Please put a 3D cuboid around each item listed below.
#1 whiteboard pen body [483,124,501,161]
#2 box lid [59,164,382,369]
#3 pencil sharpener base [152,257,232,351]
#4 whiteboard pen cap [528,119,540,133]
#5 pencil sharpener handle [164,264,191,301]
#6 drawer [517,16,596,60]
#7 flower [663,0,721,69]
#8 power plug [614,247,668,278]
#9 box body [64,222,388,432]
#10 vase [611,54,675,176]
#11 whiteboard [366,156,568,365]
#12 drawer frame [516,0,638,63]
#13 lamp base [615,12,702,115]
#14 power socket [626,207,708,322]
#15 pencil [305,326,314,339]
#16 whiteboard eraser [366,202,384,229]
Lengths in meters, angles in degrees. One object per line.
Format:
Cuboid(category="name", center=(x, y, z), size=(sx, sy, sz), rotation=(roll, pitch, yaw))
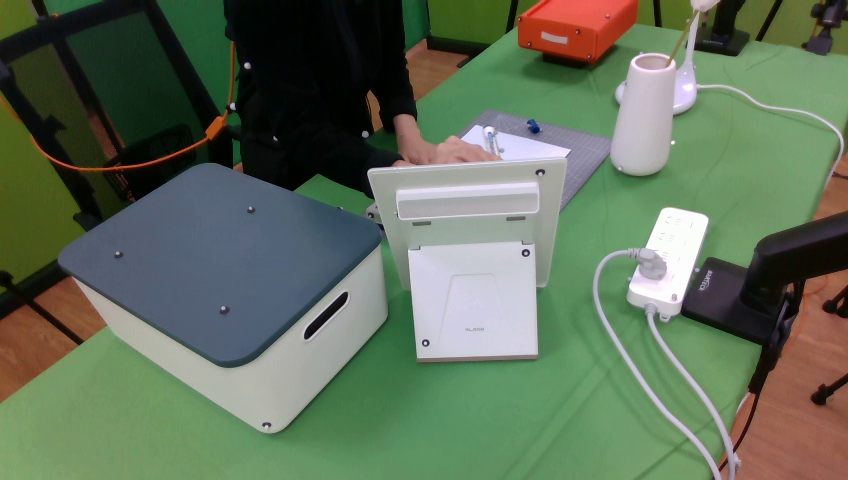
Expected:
Cuboid(category="whiteboard pen body", center=(0.090, -0.096, 0.756), size=(0.017, 0.017, 0.140), rotation=(-7, 51, 0))
Cuboid(category="box lid", center=(-0.263, 0.010, 0.777), size=(0.368, 0.015, 0.264), rotation=(20, 47, 29))
Cuboid(category="pencil sharpener base", center=(-0.322, 0.088, 0.842), size=(0.061, 0.107, 0.076), rotation=(-27, 44, -20))
Cuboid(category="whiteboard pen cap", center=(0.221, -0.229, 1.211), size=(0.018, 0.018, 0.033), rotation=(-13, 40, -7))
Cuboid(category="pencil sharpener handle", center=(-0.354, 0.055, 0.866), size=(0.036, 0.068, 0.030), rotation=(-16, 39, -29))
Cuboid(category="drawer", center=(0.352, -0.506, 1.405), size=(0.193, 0.073, 0.212), rotation=(23, 49, 32))
Cuboid(category="flower", center=(0.379, -0.261, 0.965), size=(0.044, 0.362, 0.038), rotation=(20, 53, 5))
Cuboid(category="power plug", center=(0.306, 0.031, 0.851), size=(0.072, 0.053, 0.035), rotation=(24, 49, 33))
Cuboid(category="box body", center=(-0.256, 0.065, 0.827), size=(0.361, 0.161, 0.255), rotation=(20, 48, 29))
Cuboid(category="vase", center=(0.377, -0.209, 1.031), size=(0.098, 0.201, 0.097), rotation=(-3, 40, 3))
Cuboid(category="whiteboard", center=(0.059, 0.050, 0.738), size=(0.217, 0.307, 0.143), rotation=(-2, 60, 6))
Cuboid(category="drawer frame", center=(0.355, -0.508, 1.410), size=(0.200, 0.083, 0.214), rotation=(23, 51, 32))
Cuboid(category="lamp base", center=(0.484, -0.363, 1.211), size=(0.180, 0.181, 0.159), rotation=(-15, 41, -14))
Cuboid(category="power socket", center=(0.359, 0.026, 0.886), size=(0.072, 0.033, 0.227), rotation=(16, 46, 26))
Cuboid(category="pencil", center=(-0.187, 0.105, 0.879), size=(0.012, 0.012, 0.192), rotation=(-27, 42, -22))
Cuboid(category="whiteboard eraser", center=(-0.038, -0.038, 1.006), size=(0.112, 0.042, 0.055), rotation=(17, 47, 25))
